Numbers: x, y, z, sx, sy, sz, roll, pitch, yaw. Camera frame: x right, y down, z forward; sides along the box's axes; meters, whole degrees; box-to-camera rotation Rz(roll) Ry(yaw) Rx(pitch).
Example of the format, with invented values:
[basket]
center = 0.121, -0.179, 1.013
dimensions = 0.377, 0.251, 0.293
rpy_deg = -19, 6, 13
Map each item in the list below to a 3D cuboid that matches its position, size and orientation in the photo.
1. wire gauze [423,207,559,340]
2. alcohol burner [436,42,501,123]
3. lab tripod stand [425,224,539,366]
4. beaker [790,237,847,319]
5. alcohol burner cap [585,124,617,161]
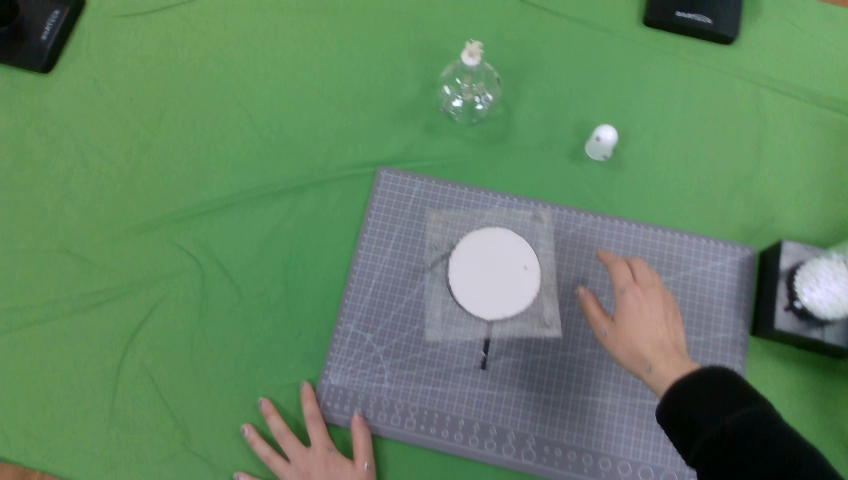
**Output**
[wire gauze]
center = 0.060, 0.029, 0.555
dimensions = 0.121, 0.011, 0.124
rpy_deg = 1, 76, -1
[alcohol burner]
center = 0.052, -0.186, 0.699
dimensions = 0.078, 0.120, 0.077
rpy_deg = 0, 72, 2
[lab tripod stand]
center = 0.064, 0.050, 0.619
dimensions = 0.148, 0.132, 0.147
rpy_deg = 0, 75, -1
[beaker]
center = 0.418, 0.034, 0.593
dimensions = 0.074, 0.101, 0.083
rpy_deg = 23, 74, 7
[alcohol burner cap]
center = 0.212, -0.118, 0.718
dimensions = 0.034, 0.048, 0.033
rpy_deg = -1, 74, 3
